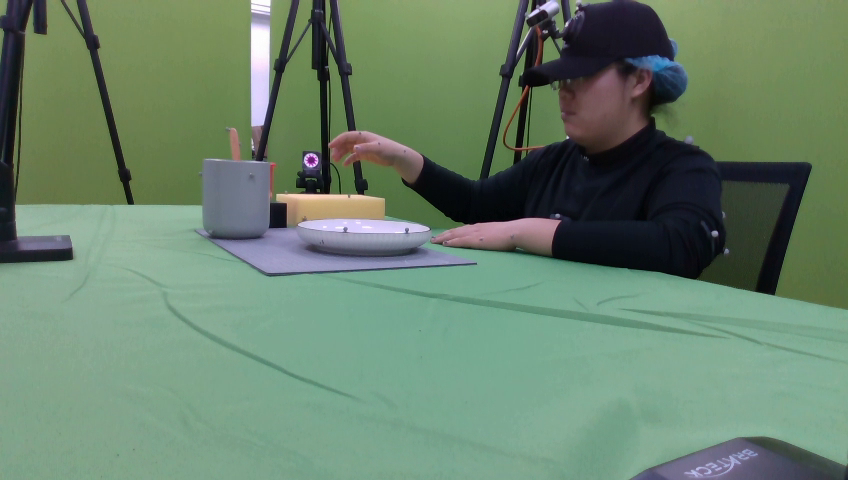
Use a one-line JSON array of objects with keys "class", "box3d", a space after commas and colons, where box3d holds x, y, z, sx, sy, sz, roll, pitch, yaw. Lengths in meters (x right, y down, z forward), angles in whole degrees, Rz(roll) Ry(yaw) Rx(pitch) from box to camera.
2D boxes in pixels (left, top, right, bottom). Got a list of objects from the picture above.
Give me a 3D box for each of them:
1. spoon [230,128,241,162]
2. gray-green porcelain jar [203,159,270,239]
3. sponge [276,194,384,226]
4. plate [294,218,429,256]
[{"class": "spoon", "box3d": [-0.314, -0.109, 1.025, 0.042, 0.193, 0.021, -5, -19, -16]}, {"class": "gray-green porcelain jar", "box3d": [-0.310, -0.068, 0.999, 0.106, 0.126, 0.106, 3, 8, 0]}, {"class": "sponge", "box3d": [-0.203, -0.067, 1.312, 0.208, 0.061, 0.117, -3, 9, -36]}, {"class": "plate", "box3d": [-0.096, -0.005, 0.936, 0.208, 0.039, 0.207, 3, 7, 0]}]
